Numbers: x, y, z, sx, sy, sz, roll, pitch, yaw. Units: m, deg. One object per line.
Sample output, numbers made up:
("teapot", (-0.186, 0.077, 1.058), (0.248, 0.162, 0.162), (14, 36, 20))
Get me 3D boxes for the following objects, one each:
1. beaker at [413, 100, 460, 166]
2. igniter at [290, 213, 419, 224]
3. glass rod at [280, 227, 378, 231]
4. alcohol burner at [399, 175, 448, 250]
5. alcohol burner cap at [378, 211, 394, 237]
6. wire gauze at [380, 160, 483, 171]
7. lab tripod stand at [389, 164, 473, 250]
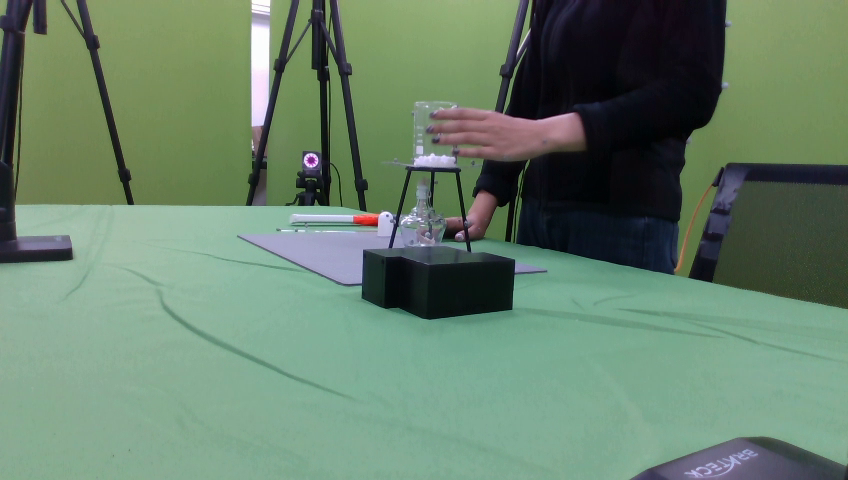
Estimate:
("beaker", (0.020, -0.167, 0.953), (0.073, 0.100, 0.084), (5, 9, 26))
("igniter", (-0.143, -0.046, 1.288), (0.278, 0.025, 0.057), (-1, -3, -24))
("glass rod", (-0.175, -0.021, 1.161), (0.200, 0.008, 0.008), (0, 7, -15))
("alcohol burner", (-0.001, -0.044, 0.962), (0.078, 0.119, 0.078), (0, 8, 0))
("alcohol burner cap", (-0.069, -0.030, 1.113), (0.034, 0.048, 0.034), (1, 9, 0))
("wire gauze", (0.011, -0.119, 0.951), (0.122, 0.011, 0.124), (-5, 12, -32))
("lab tripod stand", (0.011, -0.054, 0.961), (0.148, 0.131, 0.148), (2, 9, 0))
